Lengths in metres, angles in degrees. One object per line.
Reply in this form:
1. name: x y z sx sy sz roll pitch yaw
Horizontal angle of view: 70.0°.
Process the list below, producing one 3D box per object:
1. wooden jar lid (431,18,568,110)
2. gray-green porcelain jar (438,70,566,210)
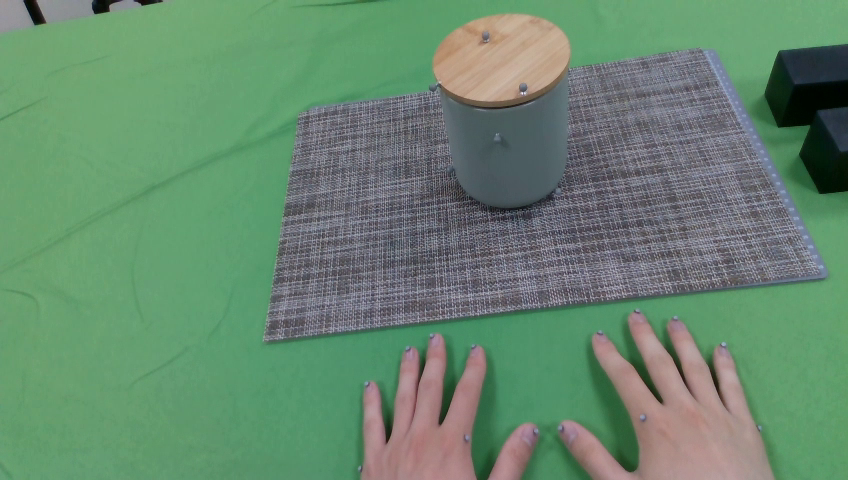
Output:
1. wooden jar lid: 0.060 -0.138 0.484 0.108 0.021 0.107 -5 54 8
2. gray-green porcelain jar: 0.072 -0.098 0.533 0.106 0.128 0.105 -6 51 8
